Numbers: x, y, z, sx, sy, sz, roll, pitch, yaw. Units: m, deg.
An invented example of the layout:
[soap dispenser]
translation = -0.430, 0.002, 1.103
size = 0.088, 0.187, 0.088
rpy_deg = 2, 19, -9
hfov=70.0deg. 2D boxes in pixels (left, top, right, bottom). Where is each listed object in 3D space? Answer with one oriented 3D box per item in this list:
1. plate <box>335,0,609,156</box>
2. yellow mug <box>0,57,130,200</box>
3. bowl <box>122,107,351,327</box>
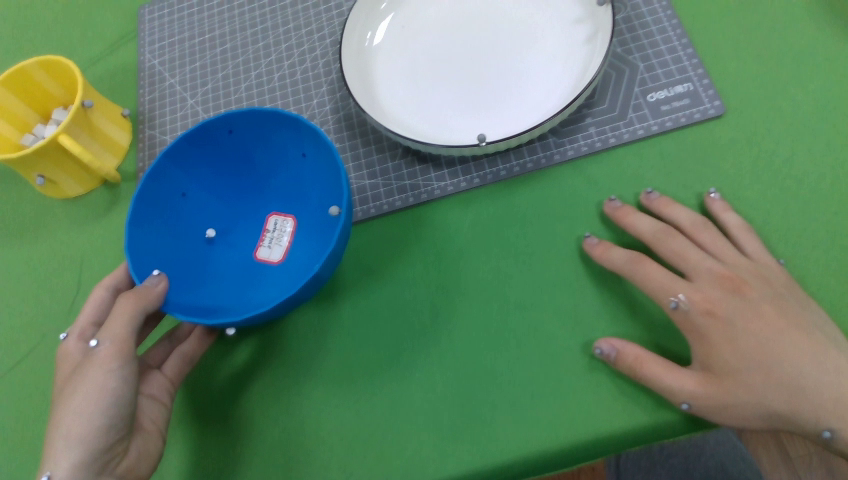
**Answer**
[plate]
translation = 0.035, -0.151, 0.468
size = 0.209, 0.038, 0.207
rpy_deg = -4, 66, 10
[yellow mug]
translation = -0.299, -0.085, 0.499
size = 0.130, 0.064, 0.100
rpy_deg = 33, 77, 22
[bowl]
translation = -0.114, -0.006, 0.416
size = 0.151, 0.077, 0.150
rpy_deg = -4, 68, 10
